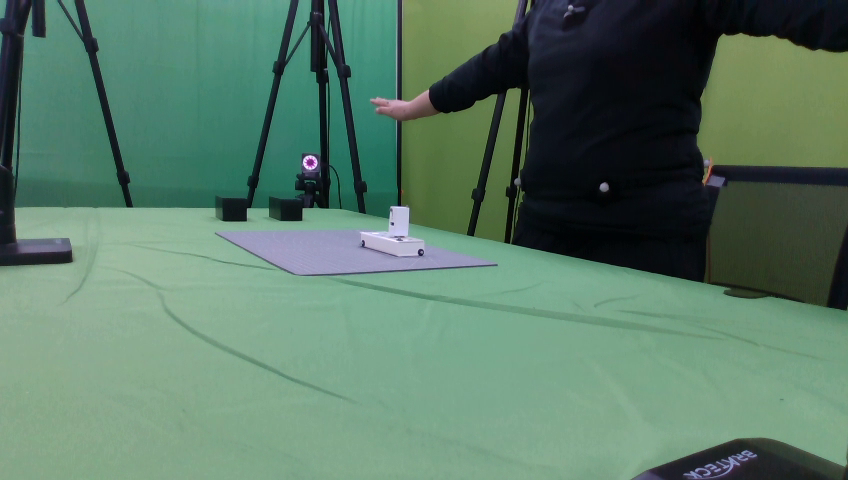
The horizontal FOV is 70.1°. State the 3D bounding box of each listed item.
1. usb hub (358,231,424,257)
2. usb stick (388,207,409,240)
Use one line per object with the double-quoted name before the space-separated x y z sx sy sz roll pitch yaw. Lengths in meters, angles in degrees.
"usb hub" -0.054 0.005 0.947 0.050 0.025 0.124 -3 9 -34
"usb stick" -0.040 -0.021 0.931 0.027 0.059 0.021 -5 11 -37
